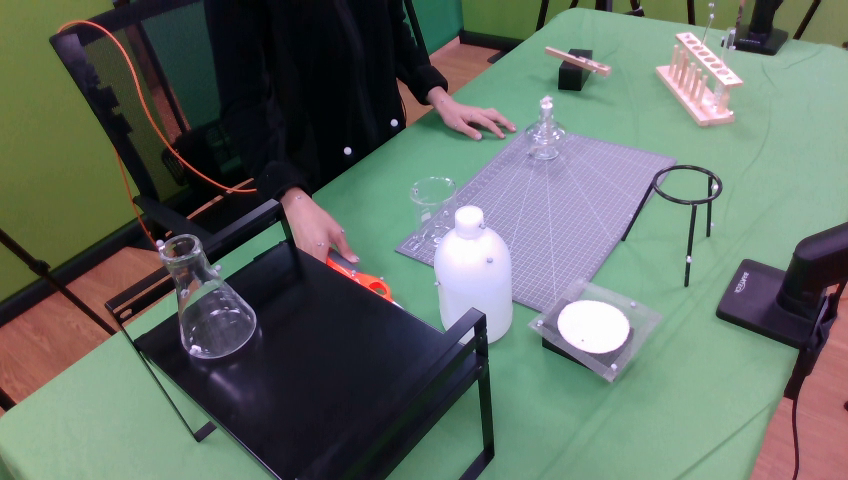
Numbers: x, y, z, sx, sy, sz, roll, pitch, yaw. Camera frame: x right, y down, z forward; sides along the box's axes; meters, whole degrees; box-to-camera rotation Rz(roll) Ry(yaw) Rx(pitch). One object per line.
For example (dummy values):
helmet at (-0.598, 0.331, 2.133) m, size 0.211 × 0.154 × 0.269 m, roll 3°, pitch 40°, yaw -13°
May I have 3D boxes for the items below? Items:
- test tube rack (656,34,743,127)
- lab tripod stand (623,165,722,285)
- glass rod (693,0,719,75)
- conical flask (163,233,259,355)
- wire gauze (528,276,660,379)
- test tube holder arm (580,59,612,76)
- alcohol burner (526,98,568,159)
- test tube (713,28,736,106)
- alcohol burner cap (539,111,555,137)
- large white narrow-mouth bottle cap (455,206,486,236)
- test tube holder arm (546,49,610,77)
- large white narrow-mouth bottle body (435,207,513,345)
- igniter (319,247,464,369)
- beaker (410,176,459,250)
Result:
test tube rack at (0.553, -0.330, 1.233) m, size 0.067 × 0.085 × 0.241 m, roll -7°, pitch 40°, yaw 2°
lab tripod stand at (0.365, -0.030, 0.875) m, size 0.148 × 0.132 × 0.147 m, roll -6°, pitch 41°, yaw 6°
glass rod at (0.561, -0.401, 1.214) m, size 0.008 × 0.200 × 0.008 m, roll -1°, pitch 48°, yaw 2°
conical flask at (-0.216, 0.051, 0.601) m, size 0.075 × 0.122 × 0.075 m, roll -4°, pitch 40°, yaw 4°
wire gauze at (0.213, 0.103, 0.763) m, size 0.124 × 0.011 × 0.122 m, roll 30°, pitch 52°, yaw 35°
test tube holder arm at (0.363, -0.369, 1.289) m, size 0.010 × 0.015 × 0.087 m, roll -27°, pitch 43°, yaw -29°
alcohol burner at (0.228, -0.210, 1.118) m, size 0.078 × 0.119 × 0.077 m, roll -5°, pitch 43°, yaw 5°
test tube at (0.570, -0.325, 1.149) m, size 0.017 × 0.151 × 0.017 m, roll -4°, pitch 36°, yaw 4°
alcohol burner cap at (0.243, -0.232, 1.197) m, size 0.034 × 0.048 × 0.033 m, roll -5°, pitch 40°, yaw 4°
large white narrow-mouth bottle cap at (0.057, -0.023, 0.734) m, size 0.038 × 0.024 × 0.037 m, roll -4°, pitch 40°, yaw 4°
test tube holder arm at (0.331, -0.387, 1.315) m, size 0.013 × 0.015 × 0.177 m, roll -26°, pitch 43°, yaw -28°
large white narrow-mouth bottle body at (0.065, 0.041, 0.791) m, size 0.102 × 0.195 × 0.101 m, roll -4°, pitch 41°, yaw 4°
igniter at (-0.056, 0.088, 0.853) m, size 0.274 × 0.025 × 0.057 m, roll 35°, pitch 44°, yaw 27°
beaker at (0.022, -0.041, 0.963) m, size 0.073 × 0.101 × 0.084 m, roll 28°, pitch 51°, yaw 35°
